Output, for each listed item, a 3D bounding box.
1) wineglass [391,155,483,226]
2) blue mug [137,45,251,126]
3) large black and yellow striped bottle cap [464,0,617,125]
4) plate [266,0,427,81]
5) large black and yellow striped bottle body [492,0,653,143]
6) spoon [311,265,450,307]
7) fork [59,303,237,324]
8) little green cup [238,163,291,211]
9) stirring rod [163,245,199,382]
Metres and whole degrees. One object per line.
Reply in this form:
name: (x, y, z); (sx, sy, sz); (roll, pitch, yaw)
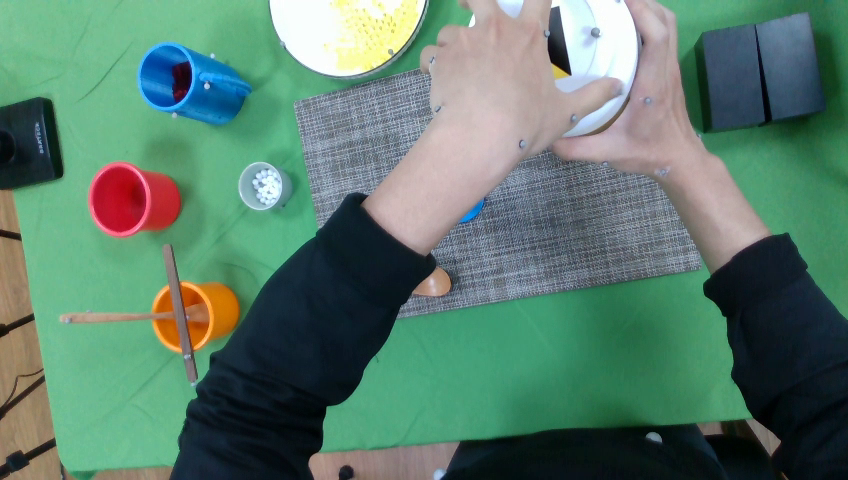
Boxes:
wineglass: (0.019, -0.051, 0.663); (0.073, 0.172, 0.073); (1, 92, 15)
blue mug: (-0.280, -0.193, 0.770); (0.116, 0.106, 0.082); (3, 93, 14)
large black and yellow striped bottle cap: (0.085, -0.145, 0.455); (0.114, 0.019, 0.115); (4, 100, 27)
plate: (-0.095, -0.300, 0.752); (0.208, 0.038, 0.209); (1, 94, 14)
large black and yellow striped bottle body: (0.123, -0.154, 0.530); (0.130, 0.184, 0.131); (4, 99, 27)
spoon: (-0.059, 0.065, 0.766); (0.193, 0.021, 0.042); (-12, 110, 15)
fork: (-0.349, 0.097, 0.779); (0.208, 0.018, 0.028); (1, 101, -29)
little green cup: (-0.206, -0.068, 0.792); (0.061, 0.039, 0.061); (1, 94, 15)
stirring rod: (-0.308, 0.093, 0.766); (0.014, 0.006, 0.176); (-12, 90, 15)
